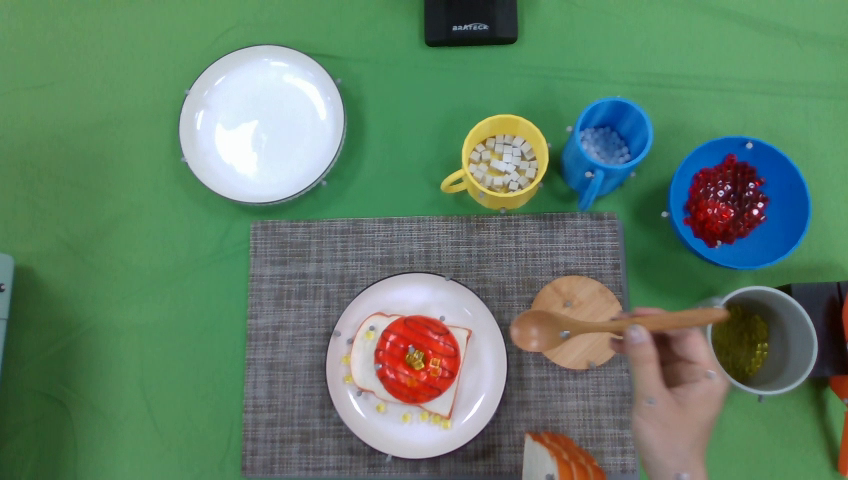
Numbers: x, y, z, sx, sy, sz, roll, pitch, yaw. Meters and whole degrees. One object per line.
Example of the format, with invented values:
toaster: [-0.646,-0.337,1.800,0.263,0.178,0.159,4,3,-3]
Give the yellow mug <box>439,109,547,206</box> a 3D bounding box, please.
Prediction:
yellow mug: [0.079,-0.090,0.720,0.131,0.064,0.099,-22,79,0]

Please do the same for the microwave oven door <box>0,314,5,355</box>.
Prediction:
microwave oven door: [-0.526,0.241,0.583,0.039,0.245,0.354,0,79,3]

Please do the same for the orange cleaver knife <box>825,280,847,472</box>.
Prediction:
orange cleaver knife: [0.456,0.147,0.650,0.012,0.077,0.212,-3,109,4]

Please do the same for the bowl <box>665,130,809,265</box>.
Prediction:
bowl: [0.342,-0.041,0.692,0.151,0.077,0.151,-1,80,3]

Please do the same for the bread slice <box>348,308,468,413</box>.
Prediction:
bread slice: [-0.022,0.134,0.699,0.131,0.019,0.104,12,80,1]

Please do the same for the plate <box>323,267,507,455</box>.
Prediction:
plate: [-0.009,0.135,0.694,0.209,0.038,0.208,-1,80,3]

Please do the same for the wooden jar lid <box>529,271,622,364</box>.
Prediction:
wooden jar lid: [0.174,0.090,0.703,0.108,0.021,0.108,0,81,3]

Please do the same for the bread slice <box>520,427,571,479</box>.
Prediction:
bread slice: [0.122,0.253,0.623,0.018,0.134,0.106,7,78,-3]

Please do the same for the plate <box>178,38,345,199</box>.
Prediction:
plate: [-0.199,-0.149,0.759,0.207,0.039,0.207,0,80,3]

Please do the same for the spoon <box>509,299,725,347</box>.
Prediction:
spoon: [0.150,0.067,0.504,0.022,0.193,0.041,-14,90,-42]

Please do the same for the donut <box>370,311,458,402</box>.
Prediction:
donut: [-0.011,0.127,0.668,0.099,0.048,0.098,0,81,0]

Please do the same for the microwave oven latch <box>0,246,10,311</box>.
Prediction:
microwave oven latch: [-0.516,0.045,0.720,0.030,0.029,0.079,3,81,3]

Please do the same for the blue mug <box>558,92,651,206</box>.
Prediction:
blue mug: [0.199,-0.095,0.695,0.082,0.106,0.116,19,81,7]

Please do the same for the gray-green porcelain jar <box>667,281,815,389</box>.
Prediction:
gray-green porcelain jar: [0.325,0.102,0.643,0.106,0.127,0.105,0,79,3]
